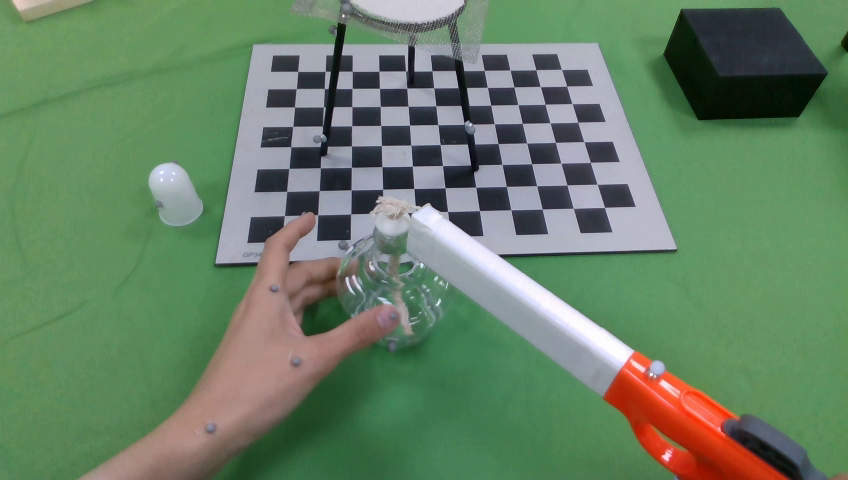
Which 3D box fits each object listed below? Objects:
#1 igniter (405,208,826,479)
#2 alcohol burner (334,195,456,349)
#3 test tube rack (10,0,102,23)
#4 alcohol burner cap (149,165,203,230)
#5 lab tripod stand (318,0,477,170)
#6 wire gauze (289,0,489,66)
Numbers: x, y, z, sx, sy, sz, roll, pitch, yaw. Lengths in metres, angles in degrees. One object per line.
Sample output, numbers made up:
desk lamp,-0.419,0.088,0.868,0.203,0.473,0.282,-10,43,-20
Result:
igniter,0.097,0.071,0.277,0.274,0.057,0.025,36,52,22
alcohol burner,-0.018,0.017,0.374,0.078,0.120,0.077,0,52,0
test tube rack,-0.317,-0.316,0.628,0.242,0.086,0.066,-30,60,-24
alcohol burner cap,-0.186,-0.034,0.449,0.034,0.048,0.033,2,53,-2
lab tripod stand,-0.014,-0.131,0.470,0.148,0.132,0.147,3,52,-3
wire gauze,-0.014,-0.170,0.414,0.125,0.011,0.120,13,52,5
